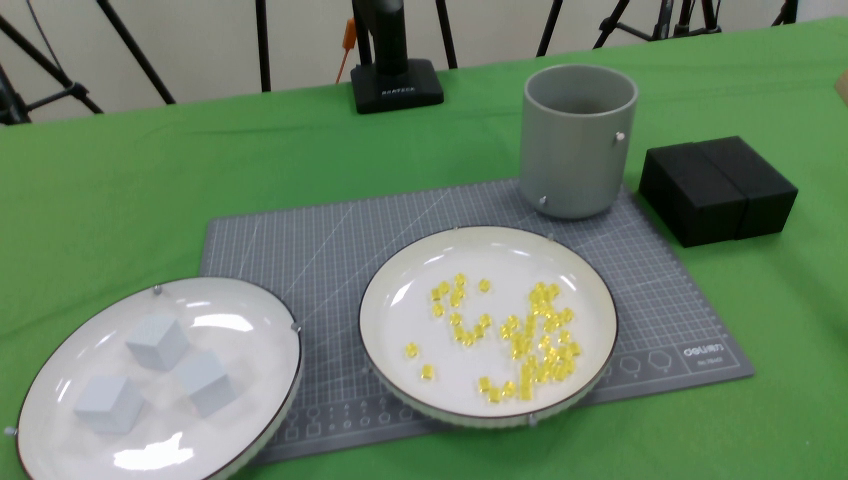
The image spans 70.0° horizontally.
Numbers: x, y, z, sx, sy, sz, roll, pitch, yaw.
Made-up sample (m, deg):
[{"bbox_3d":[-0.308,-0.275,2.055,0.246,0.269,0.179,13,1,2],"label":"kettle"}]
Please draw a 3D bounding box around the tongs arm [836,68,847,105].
[{"bbox_3d":[0.394,0.007,0.428,0.028,0.028,0.383,0,54,-9],"label":"tongs arm"}]

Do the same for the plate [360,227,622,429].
[{"bbox_3d":[0.053,0.068,0.499,0.207,0.039,0.205,-2,41,2],"label":"plate"}]

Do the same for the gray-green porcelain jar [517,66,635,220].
[{"bbox_3d":[0.148,-0.092,0.607,0.106,0.127,0.105,-2,41,3],"label":"gray-green porcelain jar"}]

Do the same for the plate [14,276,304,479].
[{"bbox_3d":[-0.194,0.113,0.468,0.209,0.038,0.207,-3,41,3],"label":"plate"}]
